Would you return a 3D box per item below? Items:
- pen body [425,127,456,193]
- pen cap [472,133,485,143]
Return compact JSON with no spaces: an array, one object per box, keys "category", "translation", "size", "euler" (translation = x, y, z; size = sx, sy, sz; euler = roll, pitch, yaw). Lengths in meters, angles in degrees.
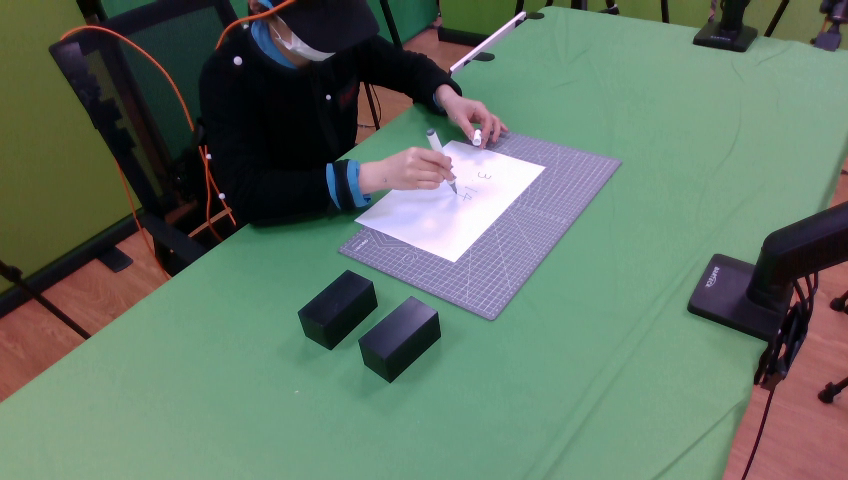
[{"category":"pen body","translation":[0.032,-0.130,1.019],"size":[0.017,0.145,0.017],"euler":[-14,46,15]},{"category":"pen cap","translation":[0.103,-0.193,1.141],"size":[0.017,0.017,0.038],"euler":[9,21,18]}]
